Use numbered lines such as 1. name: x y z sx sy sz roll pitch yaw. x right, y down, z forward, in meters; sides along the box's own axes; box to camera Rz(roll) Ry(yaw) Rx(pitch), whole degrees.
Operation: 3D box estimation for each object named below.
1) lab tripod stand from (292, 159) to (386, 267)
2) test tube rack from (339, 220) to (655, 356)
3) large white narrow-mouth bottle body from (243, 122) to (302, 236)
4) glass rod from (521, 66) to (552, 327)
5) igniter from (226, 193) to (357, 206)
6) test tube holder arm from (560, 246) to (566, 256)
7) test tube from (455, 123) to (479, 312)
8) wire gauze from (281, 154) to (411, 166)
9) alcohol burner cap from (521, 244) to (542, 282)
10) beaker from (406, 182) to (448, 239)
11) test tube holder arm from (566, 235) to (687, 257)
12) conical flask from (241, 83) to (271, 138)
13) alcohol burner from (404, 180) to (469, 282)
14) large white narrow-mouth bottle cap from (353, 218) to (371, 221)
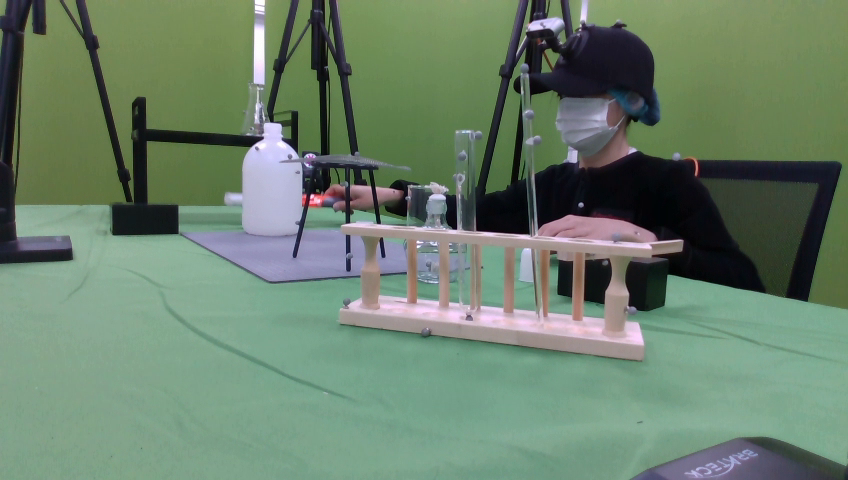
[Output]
1. lab tripod stand: -0.105 -0.039 0.797 0.148 0.131 0.148 2 5 0
2. test tube rack: 0.056 0.032 0.495 0.242 0.085 0.067 4 7 15
3. large white narrow-mouth bottle body: -0.264 -0.109 1.061 0.102 0.194 0.102 2 8 0
4. glass rod: 0.085 -0.028 0.454 0.008 0.199 0.008 -7 10 2
5. igniter: -0.261 -0.082 1.231 0.278 0.025 0.057 -2 18 -39
6. test tube holder arm: 0.173 0.007 0.611 0.088 0.015 0.010 -3 9 -30
7. test tube: 0.034 -0.016 0.476 0.017 0.150 0.017 -2 10 1
8. wire gauze: -0.102 -0.105 0.785 0.121 0.011 0.126 7 8 43
9. alcohol burner cap: 0.136 0.025 0.740 0.034 0.048 0.034 1 6 0
10. beaker: 0.008 -0.053 1.102 0.074 0.100 0.083 -6 12 -43
11. test tube holder arm: 0.215 0.006 0.630 0.179 0.015 0.013 -3 9 -30
12. conical flask: -0.384 -0.297 1.393 0.075 0.122 0.075 2 7 0
13. alcohol burner: 0.015 -0.011 0.715 0.078 0.119 0.078 0 7 0
14. large white narrow-mouth bottle cap: -0.120 -0.029 1.184 0.038 0.024 0.037 2 8 0
